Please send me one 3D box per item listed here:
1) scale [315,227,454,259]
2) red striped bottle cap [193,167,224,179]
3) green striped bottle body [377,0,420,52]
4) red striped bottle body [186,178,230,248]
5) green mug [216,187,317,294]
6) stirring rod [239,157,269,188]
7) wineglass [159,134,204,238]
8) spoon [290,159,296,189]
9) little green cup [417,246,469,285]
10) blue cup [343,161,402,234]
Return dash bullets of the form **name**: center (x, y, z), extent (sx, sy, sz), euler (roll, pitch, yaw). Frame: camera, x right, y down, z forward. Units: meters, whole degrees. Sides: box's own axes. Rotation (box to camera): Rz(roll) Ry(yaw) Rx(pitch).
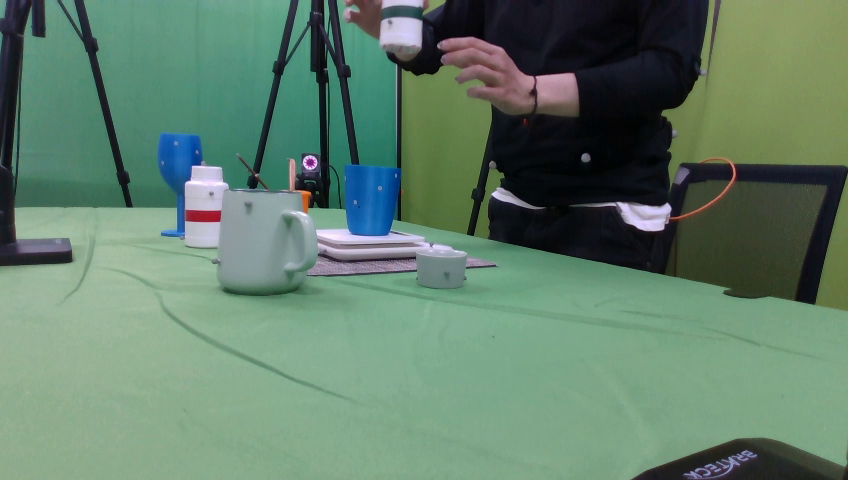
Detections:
- **scale**: center (-0.066, 0.001, 0.906), extent (0.202, 0.031, 0.148), euler (-2, 8, -31)
- **red striped bottle cap**: center (-0.329, -0.103, 0.921), extent (0.044, 0.017, 0.044), euler (-1, 9, 0)
- **green striped bottle body**: center (-0.036, -0.345, 0.894), extent (0.063, 0.119, 0.063), euler (2, 6, 0)
- **red striped bottle body**: center (-0.331, -0.050, 0.927), extent (0.063, 0.119, 0.063), euler (2, 6, 0)
- **green mug**: center (-0.157, 0.000, 0.629), extent (0.124, 0.105, 0.093), euler (7, 9, 37)
- **stirring rod**: center (-0.309, -0.098, 1.209), extent (0.006, 0.177, 0.014), euler (-39, 29, -4)
- **wineglass**: center (-0.415, -0.093, 1.040), extent (0.074, 0.172, 0.073), euler (2, 7, 0)
- **spoon**: center (-0.273, -0.102, 1.252), extent (0.042, 0.193, 0.021), euler (7, -38, -17)
- **little green cup**: center (0.021, 0.029, 0.701), extent (0.061, 0.038, 0.061), euler (1, 6, 0)
- **blue cup**: center (-0.078, -0.062, 0.884), extent (0.093, 0.100, 0.092), euler (4, 6, 0)
